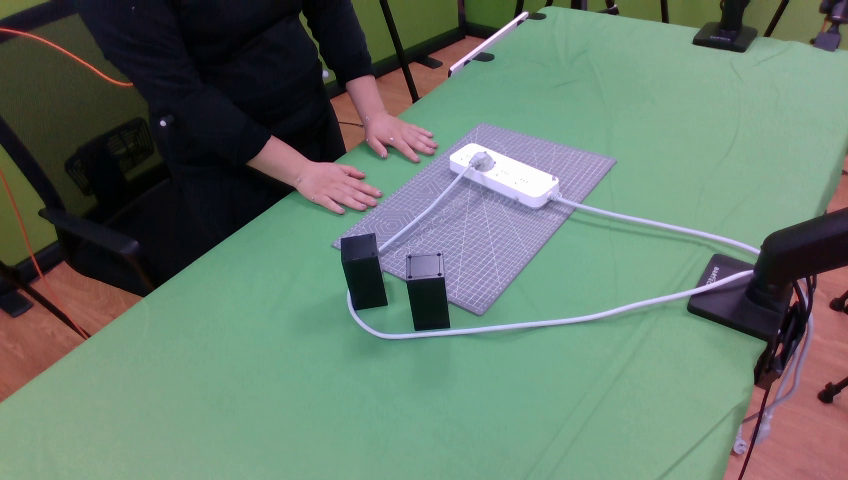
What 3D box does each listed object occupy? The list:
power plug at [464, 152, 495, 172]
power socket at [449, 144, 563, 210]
[{"bbox_3d":[0.093,-0.127,1.065,0.073,0.053,0.035,-29,44,-21],"label":"power plug"},{"bbox_3d":[0.139,-0.115,1.072,0.225,0.033,0.072,30,53,35],"label":"power socket"}]
